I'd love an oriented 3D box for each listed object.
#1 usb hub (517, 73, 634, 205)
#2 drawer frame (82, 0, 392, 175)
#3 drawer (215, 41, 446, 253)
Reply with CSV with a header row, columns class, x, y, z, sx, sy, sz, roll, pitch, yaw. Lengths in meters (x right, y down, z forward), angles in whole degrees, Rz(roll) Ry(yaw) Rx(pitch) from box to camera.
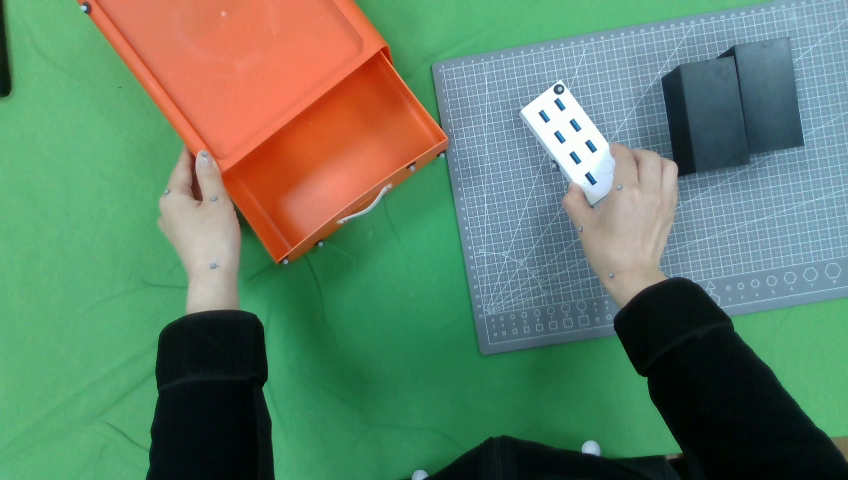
class,x,y,z,sx,sy,sz,roll,pitch,yaw
usb hub,0.147,-0.098,0.591,0.049,0.025,0.125,-37,91,5
drawer frame,-0.173,-0.202,0.570,0.201,0.083,0.213,-38,90,3
drawer,-0.116,-0.125,0.575,0.194,0.073,0.211,-36,89,3
